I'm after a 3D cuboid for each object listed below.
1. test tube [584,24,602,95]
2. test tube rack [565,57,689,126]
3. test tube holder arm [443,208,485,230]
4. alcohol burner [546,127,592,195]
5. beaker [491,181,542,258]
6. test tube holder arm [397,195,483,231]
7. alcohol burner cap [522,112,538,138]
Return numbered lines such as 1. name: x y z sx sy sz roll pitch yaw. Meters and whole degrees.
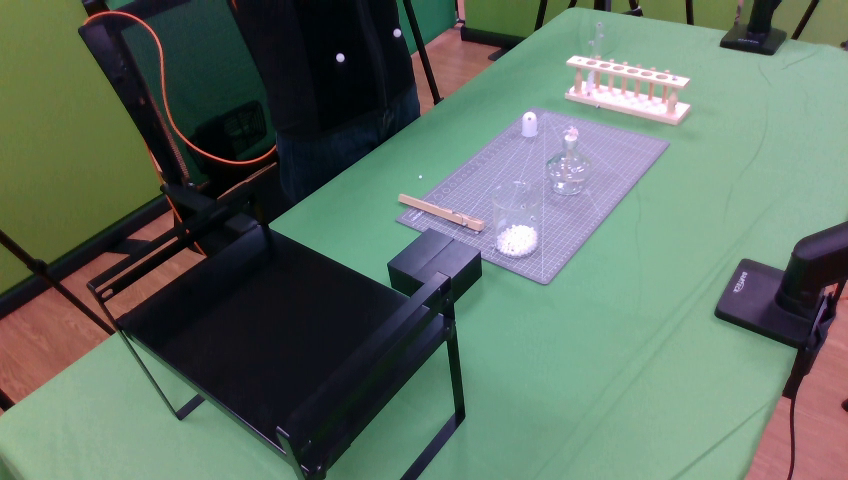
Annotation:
1. test tube: 0.342 -0.362 1.226 0.017 0.151 0.017 -2 44 2
2. test tube rack: 0.412 -0.311 1.230 0.240 0.085 0.067 24 49 32
3. test tube holder arm: 0.063 -0.035 1.007 0.087 0.015 0.010 21 18 33
4. alcohol burner: 0.246 -0.137 1.024 0.078 0.119 0.077 -4 38 4
5. beaker: 0.144 -0.030 0.925 0.073 0.100 0.084 23 48 31
6. test tube holder arm: 0.024 -0.048 1.026 0.177 0.015 0.013 21 17 31
7. alcohol burner cap: 0.210 -0.230 1.195 0.034 0.048 0.033 -5 42 5
